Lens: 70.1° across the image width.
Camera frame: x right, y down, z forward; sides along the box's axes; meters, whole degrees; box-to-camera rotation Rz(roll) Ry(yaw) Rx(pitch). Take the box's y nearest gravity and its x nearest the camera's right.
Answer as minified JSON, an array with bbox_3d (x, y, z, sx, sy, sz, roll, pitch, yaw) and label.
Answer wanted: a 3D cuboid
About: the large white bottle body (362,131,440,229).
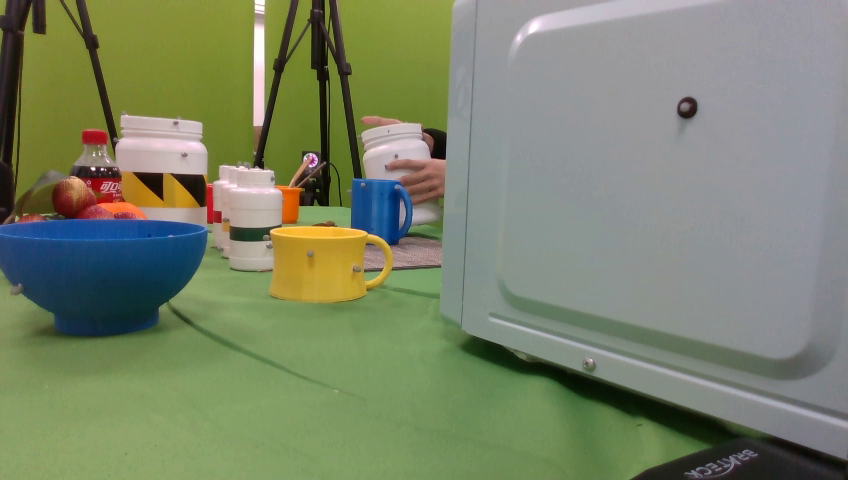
[{"bbox_3d":[-0.044,-0.116,1.144,0.131,0.184,0.130,-11,2,1],"label":"large white bottle body"}]

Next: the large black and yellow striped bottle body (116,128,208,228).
[{"bbox_3d":[-0.404,-0.089,0.937,0.131,0.184,0.130,3,7,0],"label":"large black and yellow striped bottle body"}]

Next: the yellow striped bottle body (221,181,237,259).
[{"bbox_3d":[-0.244,-0.035,0.823,0.063,0.120,0.063,2,8,0],"label":"yellow striped bottle body"}]

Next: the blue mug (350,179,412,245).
[{"bbox_3d":[-0.068,-0.046,1.000,0.116,0.106,0.083,8,9,32],"label":"blue mug"}]

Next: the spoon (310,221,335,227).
[{"bbox_3d":[-0.185,-0.027,1.131,0.041,0.021,0.193,-18,6,2],"label":"spoon"}]

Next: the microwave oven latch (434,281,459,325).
[{"bbox_3d":[0.044,0.045,0.470,0.079,0.029,0.030,-2,8,-39],"label":"microwave oven latch"}]

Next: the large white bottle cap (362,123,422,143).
[{"bbox_3d":[-0.061,-0.201,1.141,0.115,0.018,0.115,-9,3,1],"label":"large white bottle cap"}]

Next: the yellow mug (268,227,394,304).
[{"bbox_3d":[-0.094,0.023,0.629,0.131,0.064,0.099,0,8,-22],"label":"yellow mug"}]

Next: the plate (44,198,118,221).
[{"bbox_3d":[-0.617,-0.056,1.179,0.209,0.038,0.209,3,7,0],"label":"plate"}]

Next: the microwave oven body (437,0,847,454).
[{"bbox_3d":[0.279,-0.040,0.464,0.444,0.260,0.324,-3,9,-41],"label":"microwave oven body"}]

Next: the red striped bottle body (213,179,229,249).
[{"bbox_3d":[-0.284,-0.048,0.909,0.063,0.119,0.063,3,10,0],"label":"red striped bottle body"}]

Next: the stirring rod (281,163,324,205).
[{"bbox_3d":[-0.278,-0.105,1.293,0.176,0.006,0.014,-47,25,-18],"label":"stirring rod"}]

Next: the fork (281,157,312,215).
[{"bbox_3d":[-0.289,-0.116,1.321,0.028,0.019,0.207,6,51,19],"label":"fork"}]

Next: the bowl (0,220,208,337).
[{"bbox_3d":[-0.251,0.029,0.479,0.151,0.077,0.151,2,7,0],"label":"bowl"}]

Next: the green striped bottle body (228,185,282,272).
[{"bbox_3d":[-0.208,-0.023,0.745,0.063,0.119,0.063,2,7,0],"label":"green striped bottle body"}]

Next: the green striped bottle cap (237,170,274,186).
[{"bbox_3d":[-0.205,-0.075,0.737,0.044,0.020,0.044,1,6,0],"label":"green striped bottle cap"}]

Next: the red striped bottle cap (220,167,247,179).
[{"bbox_3d":[-0.281,-0.099,0.901,0.044,0.017,0.044,-1,5,0],"label":"red striped bottle cap"}]

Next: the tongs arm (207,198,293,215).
[{"bbox_3d":[-0.423,-0.084,1.472,0.050,0.026,0.386,1,6,21],"label":"tongs arm"}]

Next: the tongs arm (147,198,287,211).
[{"bbox_3d":[-0.504,-0.090,1.513,0.028,0.028,0.389,-1,4,38],"label":"tongs arm"}]

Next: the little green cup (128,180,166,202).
[{"bbox_3d":[-0.485,-0.087,1.062,0.061,0.038,0.061,-1,6,0],"label":"little green cup"}]

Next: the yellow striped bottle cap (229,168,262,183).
[{"bbox_3d":[-0.240,-0.087,0.816,0.044,0.018,0.044,-3,5,1],"label":"yellow striped bottle cap"}]

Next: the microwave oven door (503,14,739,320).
[{"bbox_3d":[0.217,-0.065,0.600,0.358,0.243,0.039,-4,10,-41],"label":"microwave oven door"}]

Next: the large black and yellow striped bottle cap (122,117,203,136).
[{"bbox_3d":[-0.399,-0.174,0.927,0.115,0.019,0.115,5,9,-1],"label":"large black and yellow striped bottle cap"}]
